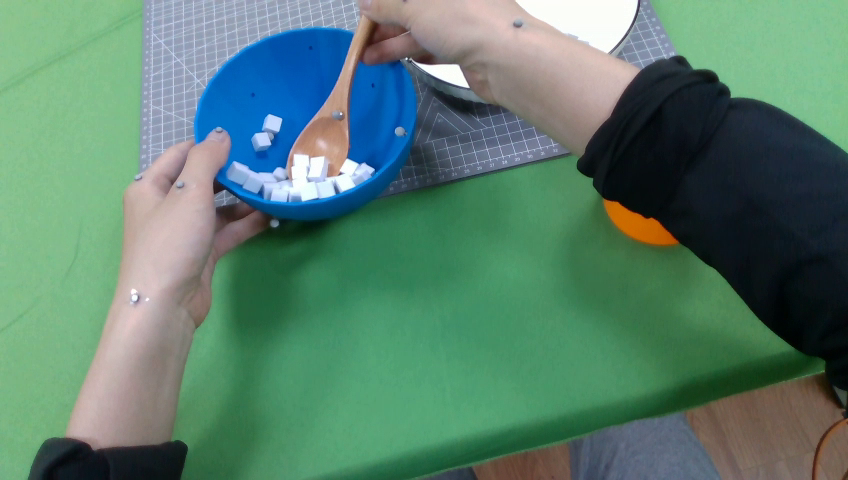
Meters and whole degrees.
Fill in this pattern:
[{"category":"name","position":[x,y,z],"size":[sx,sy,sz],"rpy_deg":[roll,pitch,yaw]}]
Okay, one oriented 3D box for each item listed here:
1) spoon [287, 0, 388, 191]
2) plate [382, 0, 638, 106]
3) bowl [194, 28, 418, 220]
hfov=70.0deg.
[{"category":"spoon","position":[-0.045,-0.123,0.410],"size":[0.041,0.022,0.194],"rpy_deg":[27,100,17]},{"category":"plate","position":[0.069,-0.193,0.511],"size":[0.209,0.038,0.207],"rpy_deg":[-3,64,6]},{"category":"bowl","position":[-0.077,-0.070,0.439],"size":[0.151,0.077,0.150],"rpy_deg":[-1,63,3]}]
